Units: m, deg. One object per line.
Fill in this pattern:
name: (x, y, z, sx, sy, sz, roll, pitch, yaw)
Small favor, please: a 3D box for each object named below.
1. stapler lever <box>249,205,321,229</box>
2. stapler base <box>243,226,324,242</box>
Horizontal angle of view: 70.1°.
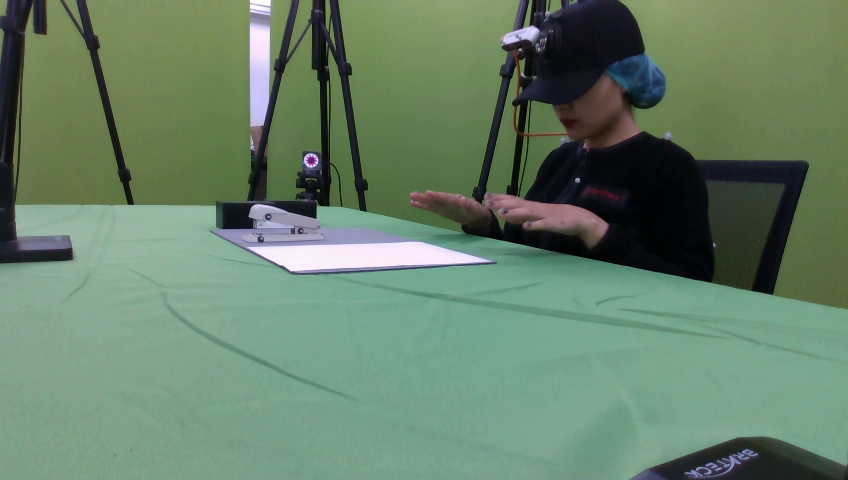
stapler lever: (-0.228, -0.037, 0.994, 0.119, 0.040, 0.026, -1, 10, -36)
stapler base: (-0.230, -0.012, 0.996, 0.131, 0.024, 0.041, -1, 10, -36)
